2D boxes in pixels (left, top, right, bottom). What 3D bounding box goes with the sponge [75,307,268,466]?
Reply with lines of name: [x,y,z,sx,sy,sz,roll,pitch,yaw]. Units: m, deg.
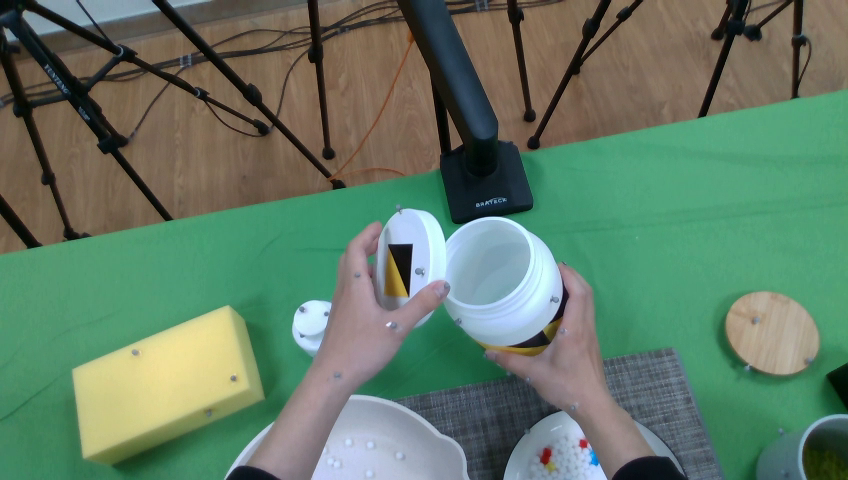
sponge: [-0.317,0.184,0.765,0.207,0.061,0.117,-23,63,-7]

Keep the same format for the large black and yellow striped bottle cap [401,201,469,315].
large black and yellow striped bottle cap: [0.011,0.017,0.578,0.019,0.116,0.114,-25,62,8]

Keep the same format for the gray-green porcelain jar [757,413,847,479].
gray-green porcelain jar: [0.416,0.244,0.624,0.106,0.127,0.105,-2,62,5]

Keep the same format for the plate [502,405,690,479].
plate: [0.189,0.290,0.669,0.209,0.038,0.207,-3,63,5]

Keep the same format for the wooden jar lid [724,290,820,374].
wooden jar lid: [0.428,0.115,0.750,0.108,0.021,0.107,-2,64,5]

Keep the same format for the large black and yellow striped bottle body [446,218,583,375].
large black and yellow striped bottle body: [0.099,0.066,0.691,0.130,0.186,0.129,-13,57,21]

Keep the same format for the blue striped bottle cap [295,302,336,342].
blue striped bottle cap: [-0.125,0.094,0.699,0.044,0.021,0.044,-3,60,6]

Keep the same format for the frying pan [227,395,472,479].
frying pan: [-0.027,0.388,0.603,0.307,0.104,0.482,-33,56,-10]

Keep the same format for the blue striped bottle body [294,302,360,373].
blue striped bottle body: [-0.120,0.118,0.745,0.063,0.122,0.062,-2,63,5]
